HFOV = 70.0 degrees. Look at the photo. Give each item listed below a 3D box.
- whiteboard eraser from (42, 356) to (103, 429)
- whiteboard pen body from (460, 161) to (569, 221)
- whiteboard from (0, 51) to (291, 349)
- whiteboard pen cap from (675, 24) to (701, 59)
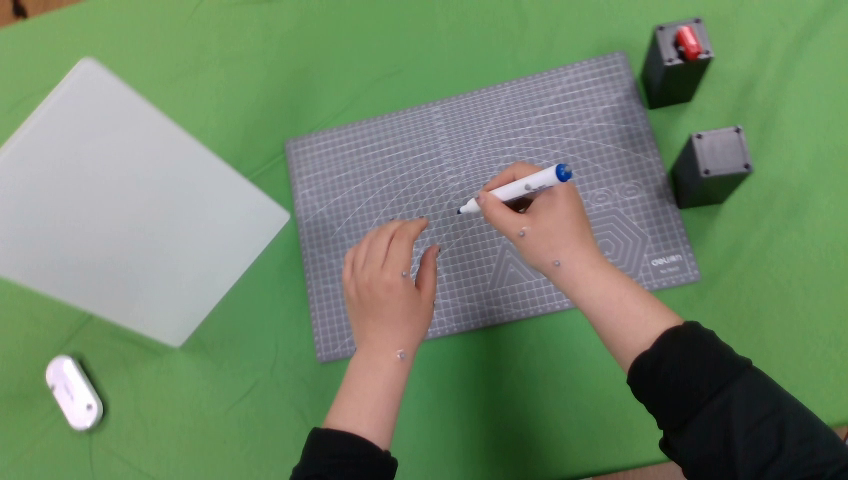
[{"bbox_3d":[-0.434,0.187,0.745,0.041,0.019,0.100,-40,74,-4],"label":"whiteboard eraser"},{"bbox_3d":[0.072,-0.038,0.526,0.017,0.140,0.016,11,69,-30],"label":"whiteboard pen body"},{"bbox_3d":[-0.343,-0.047,0.676,0.142,0.309,0.217,35,83,36],"label":"whiteboard"},{"bbox_3d":[0.276,-0.207,0.631,0.017,0.017,0.032,-18,75,4],"label":"whiteboard pen cap"}]
